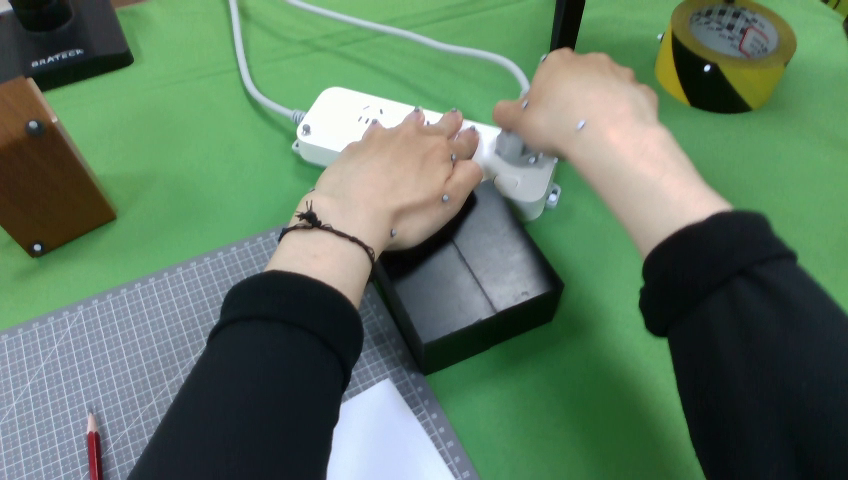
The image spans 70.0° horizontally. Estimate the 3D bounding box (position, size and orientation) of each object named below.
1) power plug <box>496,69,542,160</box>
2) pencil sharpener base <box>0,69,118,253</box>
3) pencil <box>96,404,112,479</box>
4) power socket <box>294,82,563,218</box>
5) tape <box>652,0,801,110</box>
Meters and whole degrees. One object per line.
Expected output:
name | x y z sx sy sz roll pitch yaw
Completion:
power plug | 0.083 -0.092 0.479 0.035 0.053 0.072 23 60 20
pencil sharpener base | -0.283 -0.052 0.430 0.076 0.108 0.061 -33 62 -21
pencil | -0.174 0.177 0.332 0.012 0.012 0.192 -16 55 -11
power socket | 0.003 -0.076 0.496 0.226 0.033 0.072 17 56 12
tape | 0.276 -0.178 0.557 0.117 0.053 0.115 0 56 0
